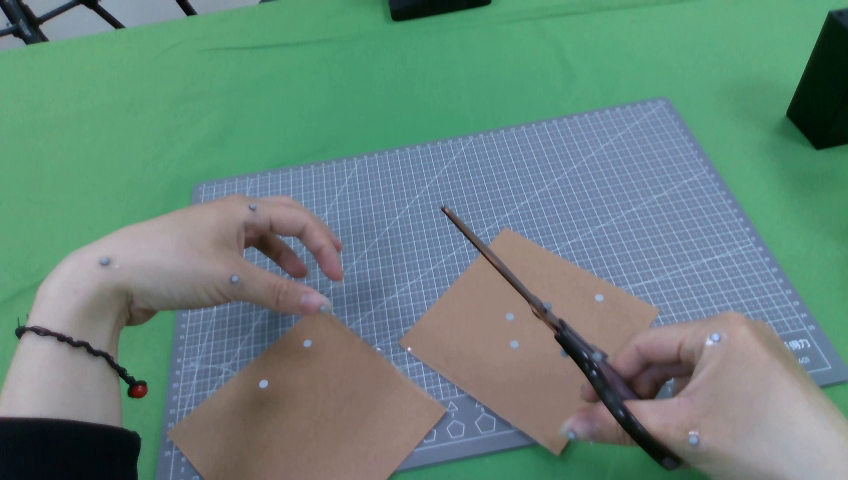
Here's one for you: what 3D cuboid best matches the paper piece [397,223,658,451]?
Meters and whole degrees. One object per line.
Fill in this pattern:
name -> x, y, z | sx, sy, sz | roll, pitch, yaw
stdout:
paper piece -> 0.073, 0.058, 0.430 | 0.134, 0.004, 0.135 | 31, 60, 29

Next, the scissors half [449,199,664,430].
scissors half -> 0.072, 0.042, 0.327 | 0.013, 0.176, 0.040 | -40, 13, 18

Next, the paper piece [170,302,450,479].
paper piece -> -0.077, 0.118, 0.402 | 0.134, 0.009, 0.138 | 32, 62, 33

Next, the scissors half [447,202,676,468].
scissors half -> 0.069, 0.047, 0.308 | 0.013, 0.040, 0.175 | -41, 88, 13
